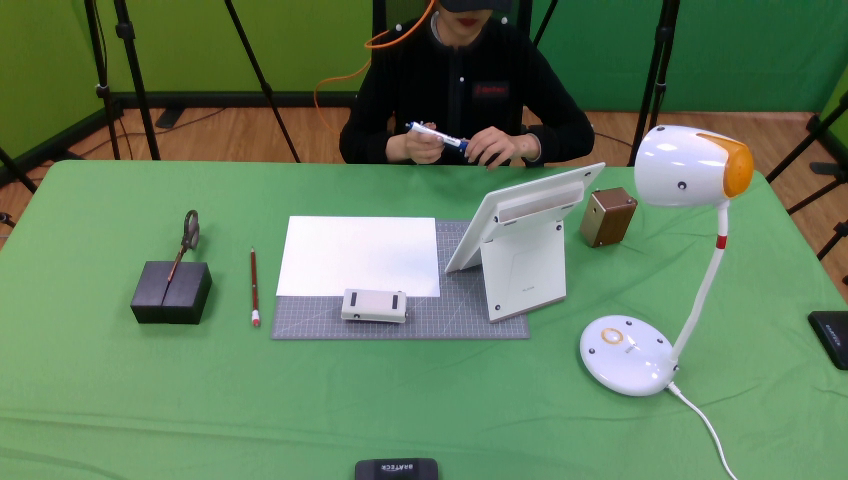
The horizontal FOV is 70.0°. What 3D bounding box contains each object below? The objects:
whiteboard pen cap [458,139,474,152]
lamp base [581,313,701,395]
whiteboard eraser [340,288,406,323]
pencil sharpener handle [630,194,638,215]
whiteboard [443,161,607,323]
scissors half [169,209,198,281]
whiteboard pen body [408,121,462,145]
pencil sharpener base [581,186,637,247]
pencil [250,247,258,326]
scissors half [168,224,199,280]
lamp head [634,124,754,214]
[{"bbox_3d":[0.087,-0.200,1.276,0.033,0.018,0.018,26,47,-5],"label":"whiteboard pen cap"},{"bbox_3d":[0.361,0.144,0.973,0.178,0.181,0.160,34,53,23],"label":"lamp base"},{"bbox_3d":[-0.088,0.117,1.060,0.113,0.042,0.055,3,45,-1],"label":"whiteboard eraser"},{"bbox_3d":[0.417,-0.068,1.215,0.031,0.068,0.036,-11,60,-15],"label":"pencil sharpener handle"},{"bbox_3d":[0.185,0.025,1.029,0.217,0.306,0.143,-15,68,-18],"label":"whiteboard"},{"bbox_3d":[-0.438,0.007,1.099,0.013,0.040,0.174,4,48,-5],"label":"scissors half"},{"bbox_3d":[0.034,-0.219,1.260,0.141,0.017,0.017,17,44,-16],"label":"whiteboard pen body"},{"bbox_3d":[0.369,-0.047,1.209,0.077,0.107,0.061,-11,47,-15],"label":"pencil sharpener base"},{"bbox_3d":[-0.312,0.079,1.106,0.012,0.012,0.192,-7,46,-11],"label":"pencil"},{"bbox_3d":[-0.441,0.023,1.111,0.013,0.040,0.174,9,29,-8],"label":"scissors half"},{"bbox_3d":[0.351,-0.089,0.775,0.112,0.113,0.122,-30,30,-28],"label":"lamp head"}]
